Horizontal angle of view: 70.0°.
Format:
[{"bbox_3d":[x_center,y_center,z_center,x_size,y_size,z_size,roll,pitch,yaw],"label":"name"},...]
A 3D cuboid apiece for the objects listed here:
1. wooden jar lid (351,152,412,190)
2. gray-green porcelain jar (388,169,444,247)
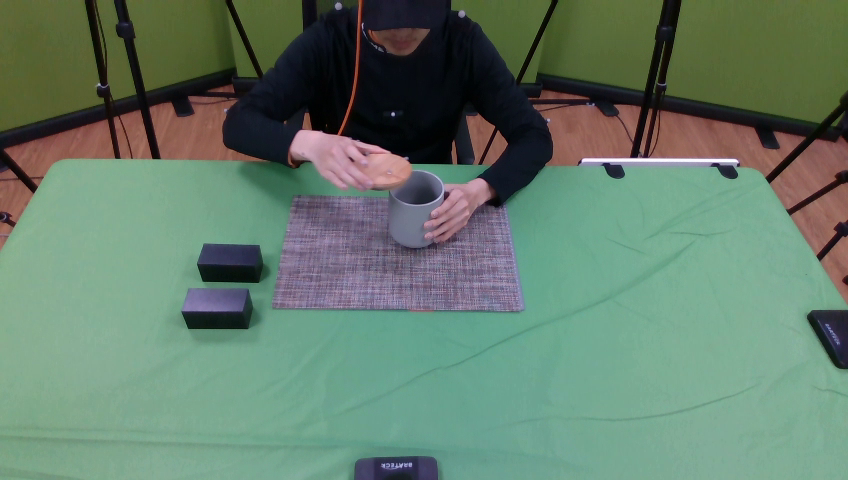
[{"bbox_3d":[-0.075,-0.122,1.072,0.108,0.021,0.108,1,37,-1],"label":"wooden jar lid"},{"bbox_3d":[-0.017,-0.057,1.172,0.106,0.127,0.105,2,47,-1],"label":"gray-green porcelain jar"}]
